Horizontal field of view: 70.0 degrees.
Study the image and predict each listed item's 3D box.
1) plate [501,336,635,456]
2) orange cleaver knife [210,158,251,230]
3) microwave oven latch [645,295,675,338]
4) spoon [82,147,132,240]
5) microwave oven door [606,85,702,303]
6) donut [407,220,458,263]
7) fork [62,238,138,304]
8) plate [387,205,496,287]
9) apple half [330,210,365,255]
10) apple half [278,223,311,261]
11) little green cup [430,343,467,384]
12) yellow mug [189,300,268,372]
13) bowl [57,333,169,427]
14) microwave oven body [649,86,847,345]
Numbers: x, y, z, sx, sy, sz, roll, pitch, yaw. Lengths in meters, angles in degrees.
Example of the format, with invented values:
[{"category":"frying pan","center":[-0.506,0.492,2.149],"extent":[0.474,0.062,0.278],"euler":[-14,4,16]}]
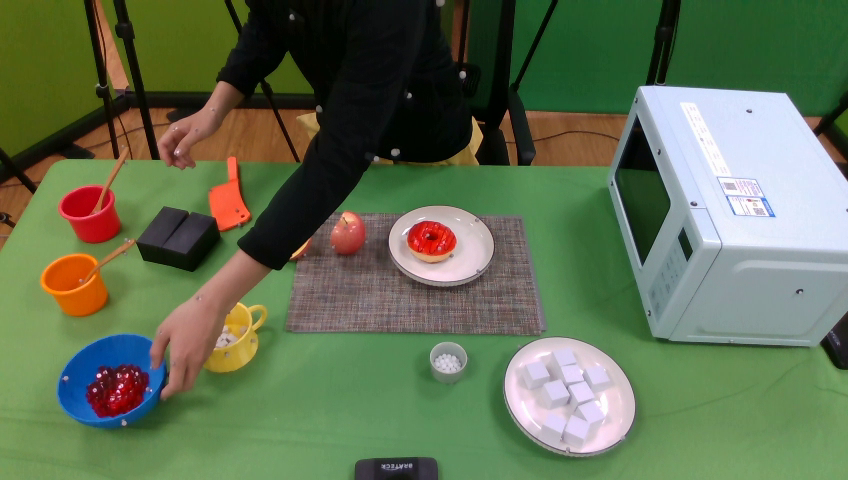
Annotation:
[{"category":"plate","center":[0.225,0.249,0.964],"extent":[0.208,0.039,0.206],"euler":[2,46,-2]},{"category":"orange cleaver knife","center":[-0.408,-0.098,1.267],"extent":[0.077,0.012,0.210],"euler":[-13,49,-10]},{"category":"microwave oven latch","center":[0.412,0.134,1.061],"extent":[0.030,0.029,0.078],"euler":[3,45,0]},{"category":"spoon","center":[-0.602,-0.089,1.156],"extent":[0.041,0.022,0.193],"euler":[27,95,20]},{"category":"microwave oven door","center":[0.423,-0.094,1.140],"extent":[0.039,0.245,0.353],"euler":[2,46,-1]},{"category":"donut","center":[0.016,0.002,1.166],"extent":[0.099,0.048,0.098],"euler":[3,44,-3]},{"category":"fork","center":[-0.547,0.053,1.018],"extent":[0.207,0.019,0.028],"euler":[-36,41,23]},{"category":"plate","center":[0.033,0.014,1.171],"extent":[0.209,0.038,0.208],"euler":[2,46,-2]},{"category":"apple half","center":[-0.140,-0.009,1.157],"extent":[0.053,0.075,0.080],"euler":[17,43,8]},{"category":"apple half","center":[-0.241,0.007,1.157],"extent":[0.081,0.033,0.081],"euler":[-17,54,25]},{"category":"little green cup","center":[0.039,0.203,0.993],"extent":[0.061,0.039,0.061],"euler":[2,46,-2]},{"category":"yellow mug","center":[-0.316,0.148,1.002],"extent":[0.131,0.064,0.099],"euler":[-33,56,-31]},{"category":"bowl","center":[-0.456,0.223,0.912],"extent":[0.151,0.077,0.150],"euler":[3,45,-3]},{"category":"microwave oven body","center":[0.568,-0.053,1.118],"extent":[0.326,0.261,0.439],"euler":[2,45,-1]}]
